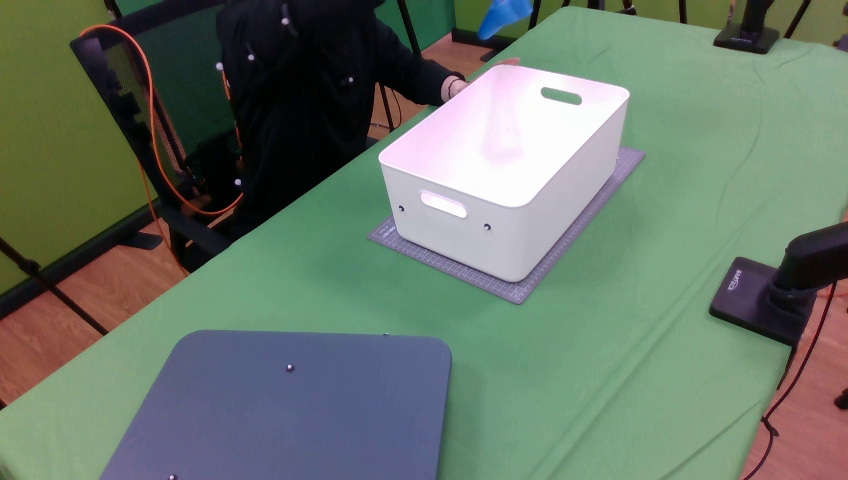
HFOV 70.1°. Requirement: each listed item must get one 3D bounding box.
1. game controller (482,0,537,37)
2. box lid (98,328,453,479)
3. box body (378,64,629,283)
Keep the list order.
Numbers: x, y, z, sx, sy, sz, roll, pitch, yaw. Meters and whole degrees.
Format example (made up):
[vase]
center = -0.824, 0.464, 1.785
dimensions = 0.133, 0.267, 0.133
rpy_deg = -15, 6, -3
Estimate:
[game controller]
center = 0.149, -0.379, 0.918
dimensions = 0.096, 0.052, 0.155
rpy_deg = 1, 46, 54
[box lid]
center = -0.157, 0.209, 0.690
dimensions = 0.371, 0.015, 0.262
rpy_deg = 1, 41, 9
[box body]
center = 0.137, -0.121, 0.978
dimensions = 0.252, 0.161, 0.365
rpy_deg = 22, 49, 30
